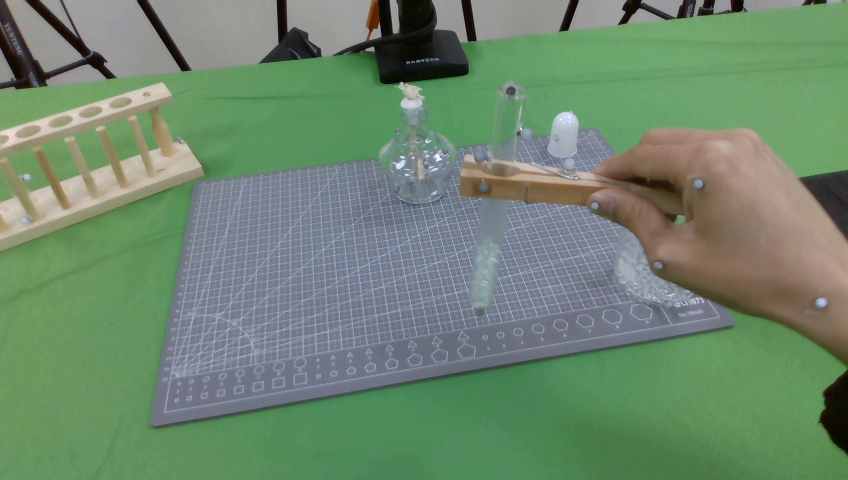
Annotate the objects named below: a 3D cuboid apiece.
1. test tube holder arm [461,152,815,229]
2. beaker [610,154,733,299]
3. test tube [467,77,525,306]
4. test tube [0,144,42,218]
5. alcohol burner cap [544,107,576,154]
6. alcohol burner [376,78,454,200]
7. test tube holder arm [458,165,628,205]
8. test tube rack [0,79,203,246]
[{"bbox_3d":[0.107,-0.027,0.318,0.178,0.015,0.013,9,45,10],"label":"test tube holder arm"},{"bbox_3d":[0.190,-0.009,0.486,0.074,0.101,0.083,-30,48,-26],"label":"beaker"},{"bbox_3d":[0.038,-0.018,0.339,0.017,0.151,0.017,2,39,-1],"label":"test tube"},{"bbox_3d":[-0.390,-0.081,0.549,0.017,0.152,0.017,-3,42,3],"label":"test tube"},{"bbox_3d":[0.147,-0.120,0.651,0.034,0.048,0.033,-2,43,2],"label":"alcohol burner cap"},{"bbox_3d":[-0.010,-0.099,0.586,0.078,0.120,0.077,-3,42,3],"label":"alcohol burner"},{"bbox_3d":[0.061,-0.029,0.320,0.088,0.015,0.010,4,44,5],"label":"test tube holder arm"},{"bbox_3d":[-0.361,-0.075,0.606,0.242,0.086,0.066,-26,47,-22],"label":"test tube rack"}]
